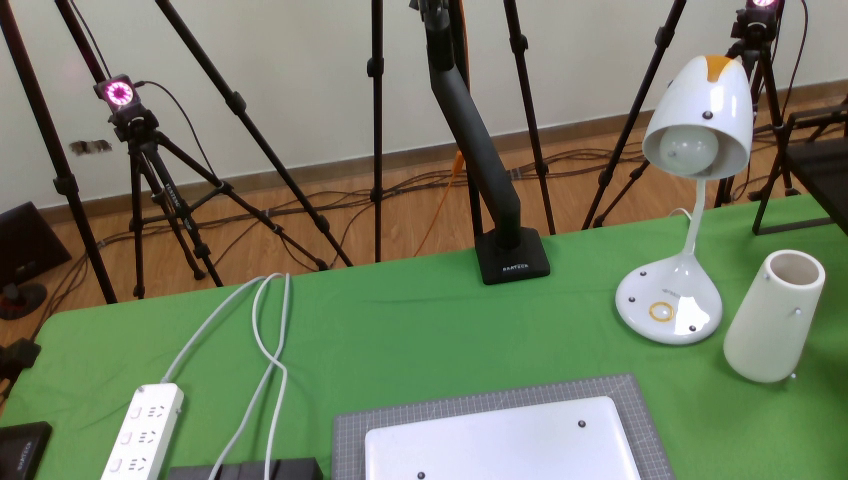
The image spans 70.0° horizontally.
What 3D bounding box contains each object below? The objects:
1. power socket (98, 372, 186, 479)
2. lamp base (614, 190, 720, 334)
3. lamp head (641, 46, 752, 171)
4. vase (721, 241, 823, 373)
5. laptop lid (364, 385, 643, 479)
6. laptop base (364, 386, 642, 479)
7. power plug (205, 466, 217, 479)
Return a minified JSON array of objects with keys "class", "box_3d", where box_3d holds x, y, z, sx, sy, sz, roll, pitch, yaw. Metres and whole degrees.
[{"class":"power socket","box_3d":[-0.414,0.291,0.888,0.072,0.033,0.224,-4,44,5]},{"class":"lamp base","box_3d":[0.385,0.022,0.926,0.159,0.182,0.178,17,48,24]},{"class":"lamp head","box_3d":[0.315,-0.152,0.683,0.112,0.113,0.122,14,67,22]},{"class":"vase","box_3d":[0.472,0.093,0.826,0.098,0.202,0.097,-6,43,6]},{"class":"laptop lid","box_3d":[0.099,0.312,0.777,0.357,0.013,0.239,-8,47,2]},{"class":"laptop base","box_3d":[0.100,0.319,0.787,0.354,0.023,0.233,-8,48,1]},{"class":"power plug","box_3d":[-0.274,0.339,0.782,0.035,0.053,0.072,10,51,45]}]
